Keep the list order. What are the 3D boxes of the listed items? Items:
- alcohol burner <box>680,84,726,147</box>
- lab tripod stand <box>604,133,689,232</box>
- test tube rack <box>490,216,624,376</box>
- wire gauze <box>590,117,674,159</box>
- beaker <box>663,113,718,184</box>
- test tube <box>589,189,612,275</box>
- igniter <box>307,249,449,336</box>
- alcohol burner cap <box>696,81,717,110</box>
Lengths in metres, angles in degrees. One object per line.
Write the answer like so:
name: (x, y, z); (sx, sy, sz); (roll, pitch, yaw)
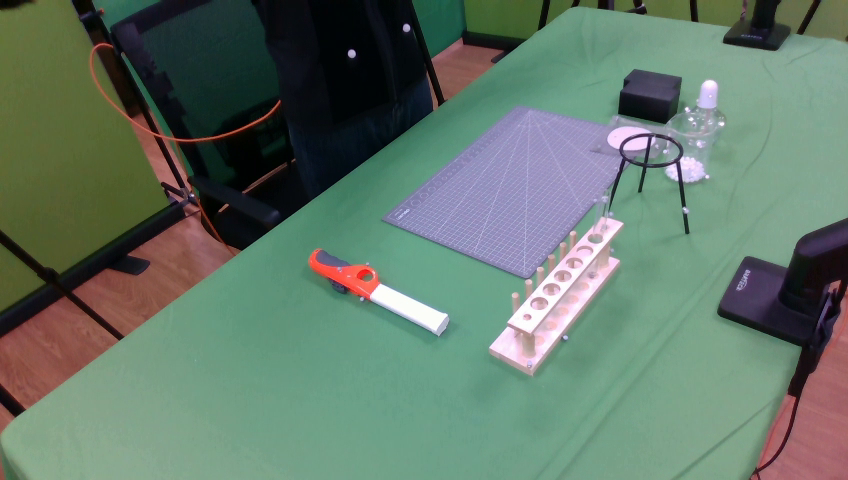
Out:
alcohol burner: (0.503, -0.228, 1.085); (0.078, 0.119, 0.077); (-4, 42, 4)
lab tripod stand: (0.347, -0.086, 0.932); (0.148, 0.132, 0.147); (-4, 40, 4)
test tube rack: (0.184, 0.064, 0.822); (0.066, 0.085, 0.243); (24, 50, 33)
wire gauze: (0.393, -0.192, 1.139); (0.120, 0.011, 0.125); (19, 47, 28)
beaker: (0.442, -0.151, 1.018); (0.084, 0.101, 0.074); (-1, 40, 11)
test tube: (0.238, -0.007, 0.818); (0.017, 0.151, 0.017); (-3, 43, 4)
igniter: (-0.079, 0.073, 0.905); (0.274, 0.025, 0.057); (23, 60, 32)
alcohol burner cap: (0.498, -0.256, 1.062); (0.034, 0.048, 0.033); (-6, 33, 4)
